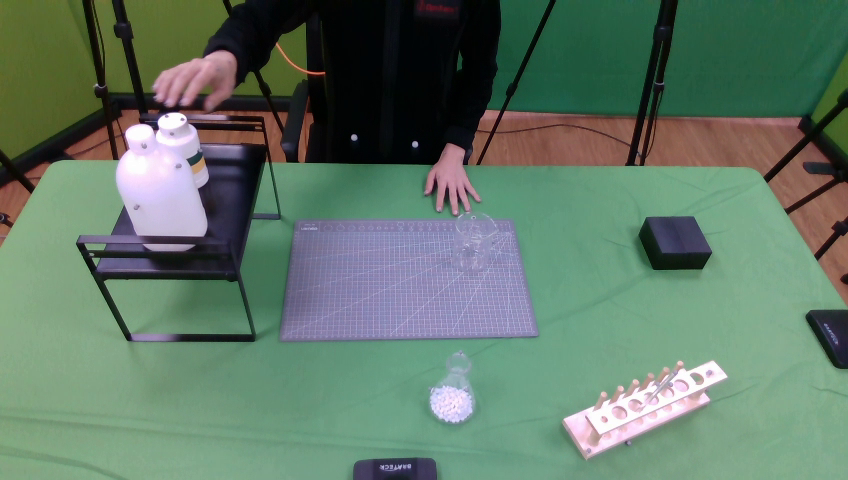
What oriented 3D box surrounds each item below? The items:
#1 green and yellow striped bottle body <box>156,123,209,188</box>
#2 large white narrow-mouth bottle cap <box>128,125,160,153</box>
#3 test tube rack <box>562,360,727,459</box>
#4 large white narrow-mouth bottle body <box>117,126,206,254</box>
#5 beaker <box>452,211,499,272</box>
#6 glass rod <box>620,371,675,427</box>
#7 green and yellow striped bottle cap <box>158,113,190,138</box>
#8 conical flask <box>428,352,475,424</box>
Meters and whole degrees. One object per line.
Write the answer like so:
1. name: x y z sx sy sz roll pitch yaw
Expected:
1. green and yellow striped bottle body: -0.395 -0.145 0.989 0.063 0.120 0.063 2 46 -2
2. large white narrow-mouth bottle cap: -0.376 -0.136 0.812 0.038 0.024 0.037 3 46 -3
3. test tube rack: 0.341 0.247 0.940 0.243 0.085 0.066 -16 49 -18
4. large white narrow-mouth bottle body: -0.383 -0.076 0.874 0.102 0.195 0.101 3 46 -3
5. beaker: 0.093 0.006 1.141 0.084 0.101 0.073 8 46 3
6. glass rod: 0.316 0.230 0.863 0.008 0.200 0.008 3 54 -3
7. green and yellow striped bottle cap: -0.393 -0.180 0.951 0.045 0.020 0.045 2 44 -2
8. conical flask: 0.046 0.220 0.920 0.075 0.122 0.075 2 46 -2
